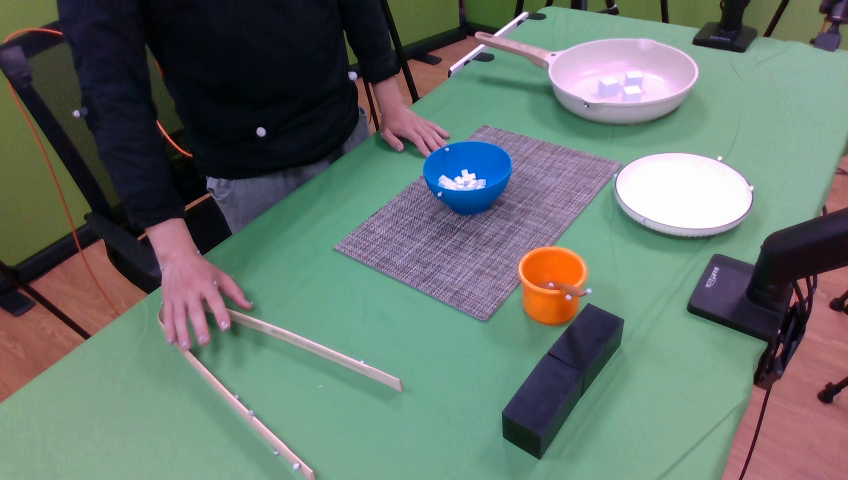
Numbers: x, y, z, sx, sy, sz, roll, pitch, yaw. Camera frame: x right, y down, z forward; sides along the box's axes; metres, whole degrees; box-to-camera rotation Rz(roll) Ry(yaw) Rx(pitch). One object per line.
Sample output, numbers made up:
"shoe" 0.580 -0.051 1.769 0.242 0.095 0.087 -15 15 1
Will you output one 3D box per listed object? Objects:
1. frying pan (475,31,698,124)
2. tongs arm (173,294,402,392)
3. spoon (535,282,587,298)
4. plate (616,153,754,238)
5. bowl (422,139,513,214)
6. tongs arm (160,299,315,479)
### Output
"frying pan" 0.320 -0.371 1.290 0.485 0.103 0.307 28 50 23
"tongs arm" -0.197 0.137 0.833 0.385 0.028 0.028 16 48 24
"spoon" 0.176 0.063 0.774 0.041 0.194 0.021 -3 85 1
"plate" 0.416 -0.069 0.977 0.207 0.039 0.206 -4 40 4
"bowl" 0.075 -0.097 1.021 0.151 0.077 0.150 -4 41 4
"tongs arm" -0.248 0.179 0.784 0.381 0.026 0.051 27 49 34
